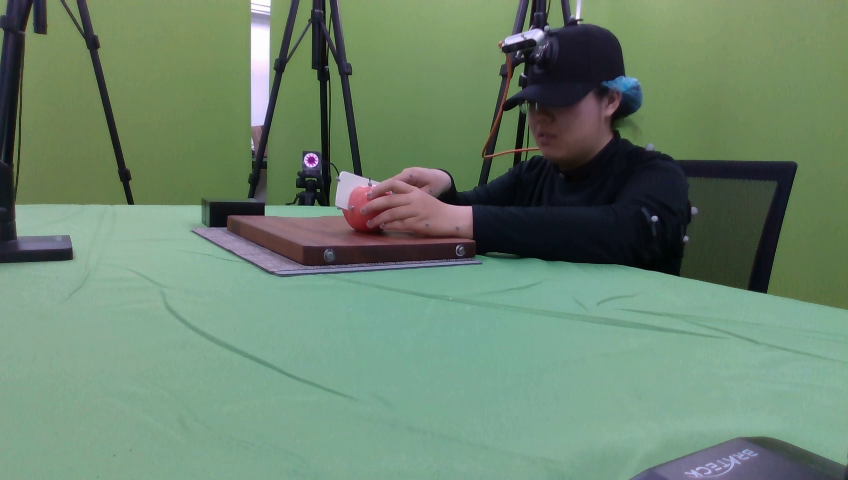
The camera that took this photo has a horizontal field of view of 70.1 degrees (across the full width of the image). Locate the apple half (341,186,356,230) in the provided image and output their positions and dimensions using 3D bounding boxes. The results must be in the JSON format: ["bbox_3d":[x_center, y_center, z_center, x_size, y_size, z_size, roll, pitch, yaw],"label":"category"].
[{"bbox_3d":[-0.113,-0.053,0.962,0.032,0.081,0.081,5,7,27],"label":"apple half"}]

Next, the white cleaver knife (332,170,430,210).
[{"bbox_3d":[-0.068,-0.068,1.018,0.021,0.066,0.288,10,2,30],"label":"white cleaver knife"}]

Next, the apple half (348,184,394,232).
[{"bbox_3d":[-0.076,-0.049,0.944,0.053,0.074,0.081,12,8,26],"label":"apple half"}]
